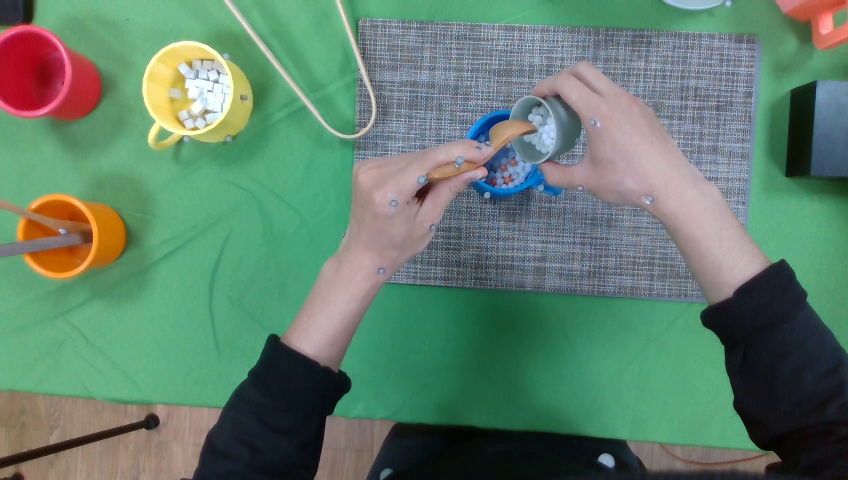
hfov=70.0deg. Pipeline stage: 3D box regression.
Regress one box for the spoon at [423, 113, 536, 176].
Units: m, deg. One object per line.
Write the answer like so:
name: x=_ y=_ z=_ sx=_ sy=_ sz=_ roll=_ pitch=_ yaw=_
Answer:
spoon: x=0.047 y=-0.076 z=0.476 sx=0.041 sy=0.193 sz=0.022 roll=1 pitch=113 yaw=27

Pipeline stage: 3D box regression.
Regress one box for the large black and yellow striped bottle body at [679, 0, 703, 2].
large black and yellow striped bottle body: x=0.293 y=-0.326 z=0.588 sx=0.131 sy=0.184 sz=0.131 roll=0 pitch=93 yaw=3

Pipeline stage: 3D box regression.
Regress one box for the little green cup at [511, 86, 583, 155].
little green cup: x=0.114 y=-0.110 z=0.557 sx=0.061 sy=0.039 sz=0.062 roll=14 pitch=110 yaw=45

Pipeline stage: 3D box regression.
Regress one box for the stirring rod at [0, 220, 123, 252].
stirring rod: x=-0.421 y=0.000 z=0.656 sx=0.177 sy=0.006 sz=0.014 roll=-14 pitch=89 yaw=-39

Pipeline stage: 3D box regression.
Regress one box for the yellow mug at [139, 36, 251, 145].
yellow mug: x=-0.263 y=-0.157 z=0.676 sx=0.100 sy=0.064 sz=0.131 roll=42 pitch=95 yaw=-1

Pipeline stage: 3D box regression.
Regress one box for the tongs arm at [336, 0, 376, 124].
tongs arm: x=-0.125 y=-0.315 z=0.659 sx=0.028 sy=0.027 sz=0.388 roll=-22 pitch=99 yaw=-5

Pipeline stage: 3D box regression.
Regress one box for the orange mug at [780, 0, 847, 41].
orange mug: x=0.429 y=-0.277 z=0.629 sx=0.083 sy=0.101 sz=0.126 roll=-7 pitch=89 yaw=3

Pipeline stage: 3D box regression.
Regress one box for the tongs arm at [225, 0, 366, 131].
tongs arm: x=-0.197 y=-0.273 z=0.661 sx=0.051 sy=0.026 sz=0.386 roll=-36 pitch=99 yaw=0

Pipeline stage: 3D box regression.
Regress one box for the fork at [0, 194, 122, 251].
fork: x=-0.429 y=-0.035 z=0.648 sx=0.209 sy=0.018 sz=0.028 roll=31 pitch=89 yaw=-43

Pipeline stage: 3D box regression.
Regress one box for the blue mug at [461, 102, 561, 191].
blue mug: x=0.094 y=-0.087 z=0.645 sx=0.116 sy=0.106 sz=0.082 roll=31 pitch=94 yaw=0
